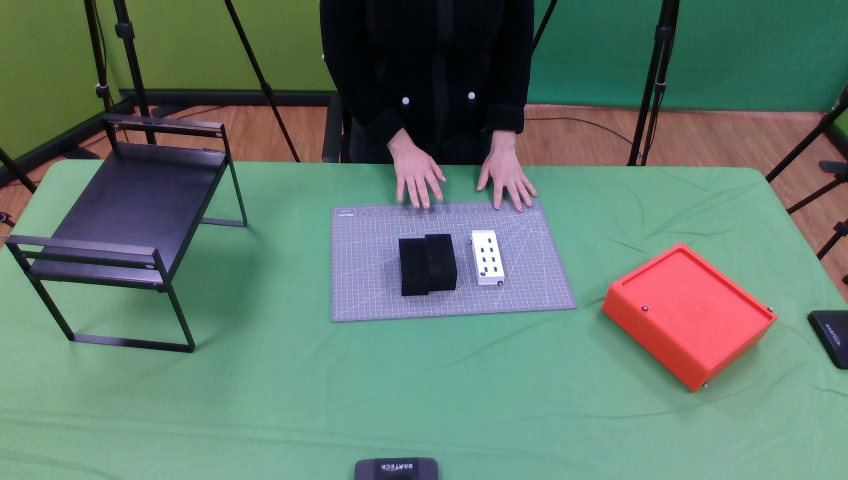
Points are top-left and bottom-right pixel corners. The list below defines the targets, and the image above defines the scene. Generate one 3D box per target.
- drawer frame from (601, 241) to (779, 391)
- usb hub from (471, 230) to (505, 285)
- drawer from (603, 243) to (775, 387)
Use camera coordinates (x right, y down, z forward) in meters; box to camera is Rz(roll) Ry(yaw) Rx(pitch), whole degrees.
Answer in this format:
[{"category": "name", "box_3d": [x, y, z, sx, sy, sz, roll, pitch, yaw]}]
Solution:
[{"category": "drawer frame", "box_3d": [0.462, 0.125, 1.066, 0.202, 0.083, 0.212, -26, 54, -26]}, {"category": "usb hub", "box_3d": [0.121, 0.032, 1.168, 0.049, 0.025, 0.124, -2, 46, -5]}, {"category": "drawer", "box_3d": [0.462, 0.125, 1.068, 0.194, 0.073, 0.210, -25, 53, -26]}]
